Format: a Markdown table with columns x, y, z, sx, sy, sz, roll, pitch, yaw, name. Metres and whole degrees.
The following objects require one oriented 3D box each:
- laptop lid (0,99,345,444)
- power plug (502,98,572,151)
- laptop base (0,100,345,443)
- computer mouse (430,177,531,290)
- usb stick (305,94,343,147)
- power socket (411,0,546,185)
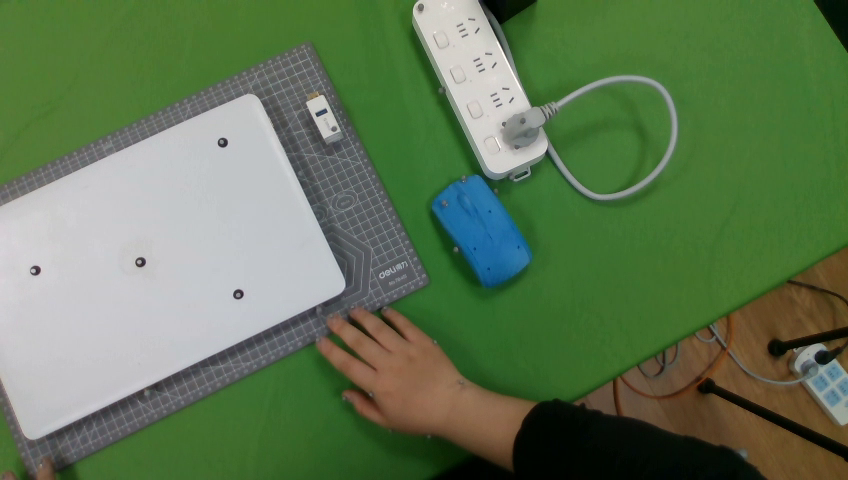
| x | y | z | sx | sy | sz | roll | pitch | yaw | name |
| --- | --- | --- | --- | --- | --- | --- | --- | --- | --- |
| -0.286 | 0.027 | 0.618 | 0.357 | 0.013 | 0.241 | -24 | 85 | -3 | laptop lid |
| 0.116 | -0.114 | 0.622 | 0.072 | 0.053 | 0.035 | -14 | 84 | -3 | power plug |
| -0.286 | 0.026 | 0.630 | 0.354 | 0.023 | 0.235 | -26 | 86 | -4 | laptop base |
| 0.057 | -0.008 | 0.626 | 0.063 | 0.041 | 0.116 | -31 | 78 | -2 | computer mouse |
| -0.110 | -0.131 | 0.645 | 0.021 | 0.027 | 0.059 | -27 | 81 | 0 | usb stick |
| 0.057 | -0.166 | 0.650 | 0.072 | 0.032 | 0.226 | -24 | 83 | -3 | power socket |
